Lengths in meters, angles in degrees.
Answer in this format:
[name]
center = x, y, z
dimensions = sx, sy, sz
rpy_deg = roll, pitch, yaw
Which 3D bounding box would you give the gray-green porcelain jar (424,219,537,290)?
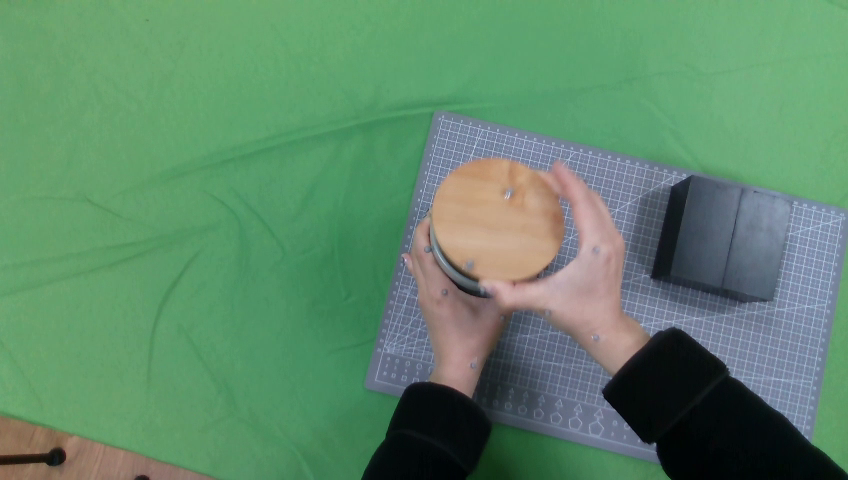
[gray-green porcelain jar]
center = 0.053, -0.007, 0.564
dimensions = 0.106, 0.126, 0.105
rpy_deg = 0, 84, -2

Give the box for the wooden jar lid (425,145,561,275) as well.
[wooden jar lid]
center = 0.053, -0.023, 0.475
dimensions = 0.108, 0.021, 0.107
rpy_deg = 3, 72, -8
